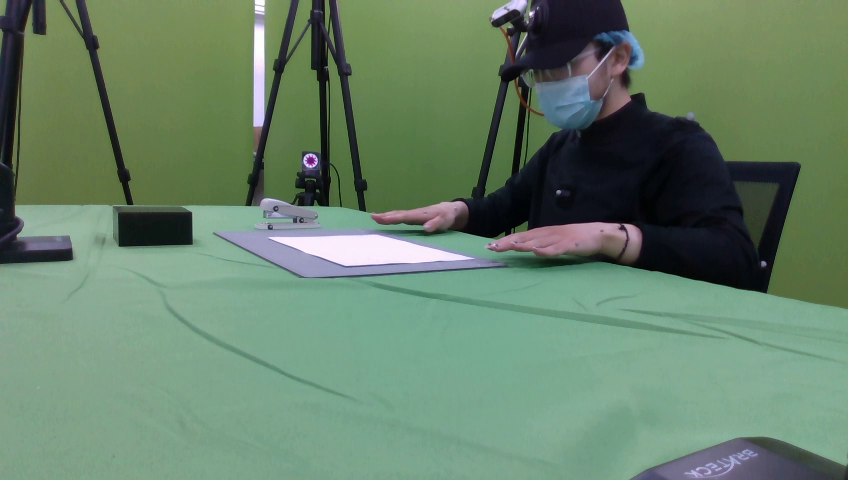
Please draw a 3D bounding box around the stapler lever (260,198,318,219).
[{"bbox_3d":[-0.267,-0.061,1.195,0.119,0.040,0.026,-1,11,-40],"label":"stapler lever"}]

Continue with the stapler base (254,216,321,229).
[{"bbox_3d":[-0.269,-0.036,1.197,0.131,0.024,0.041,-1,11,-40],"label":"stapler base"}]
